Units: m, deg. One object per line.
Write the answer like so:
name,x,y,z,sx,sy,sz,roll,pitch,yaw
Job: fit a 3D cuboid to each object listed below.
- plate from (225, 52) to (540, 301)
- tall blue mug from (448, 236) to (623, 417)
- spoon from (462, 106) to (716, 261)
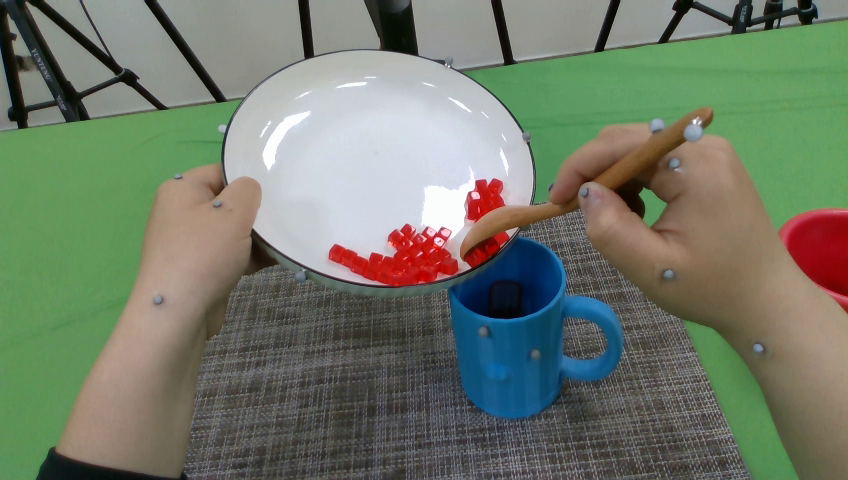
plate,-0.026,-0.046,0.416,0.208,0.039,0.205,5,56,-6
tall blue mug,0.074,0.059,0.420,0.107,0.109,0.077,-12,42,-2
spoon,0.068,-0.020,0.301,0.041,0.193,0.021,-34,93,-27
